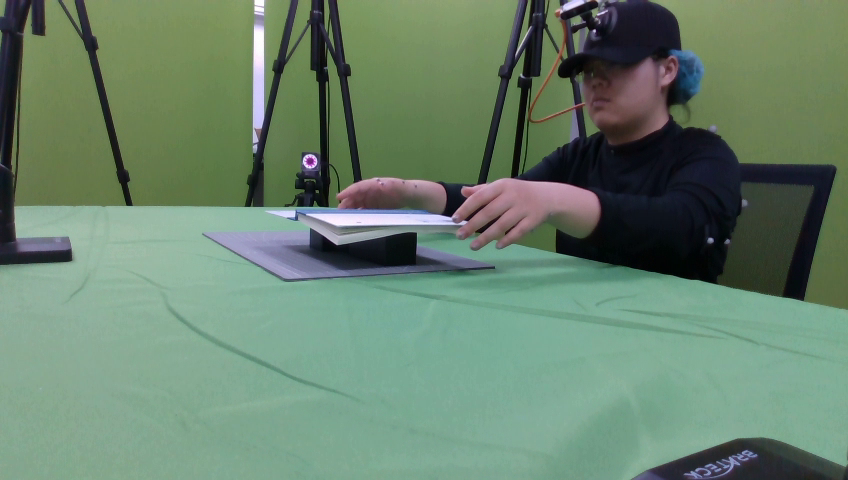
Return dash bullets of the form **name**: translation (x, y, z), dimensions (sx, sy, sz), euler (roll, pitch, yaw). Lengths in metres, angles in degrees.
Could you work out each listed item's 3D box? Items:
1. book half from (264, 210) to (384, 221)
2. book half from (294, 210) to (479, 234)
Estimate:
- **book half**: translation (-0.125, -0.038, 0.944), dimensions (0.211, 0.007, 0.142), euler (-2, 9, -32)
- **book half**: translation (-0.051, -0.026, 0.823), dimensions (0.211, 0.016, 0.148), euler (-1, 9, -32)
